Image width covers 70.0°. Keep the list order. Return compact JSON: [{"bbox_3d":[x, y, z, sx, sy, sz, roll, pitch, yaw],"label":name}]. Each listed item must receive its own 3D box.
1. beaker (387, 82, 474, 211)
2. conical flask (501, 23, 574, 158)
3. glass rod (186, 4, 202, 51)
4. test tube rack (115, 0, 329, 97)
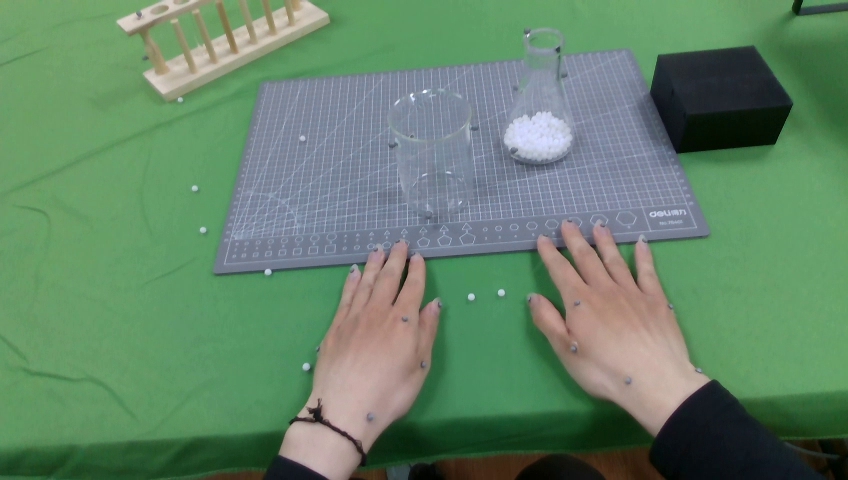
[{"bbox_3d":[0.007,-0.084,0.561,0.074,0.101,0.083,-23,51,-13],"label":"beaker"},{"bbox_3d":[0.112,-0.145,0.585,0.075,0.123,0.074,-3,50,4],"label":"conical flask"},{"bbox_3d":[-0.288,-0.318,0.713,0.008,0.201,0.008,1,43,-1],"label":"glass rod"},{"bbox_3d":[-0.245,-0.284,0.766,0.242,0.086,0.066,-35,55,-21],"label":"test tube rack"}]
